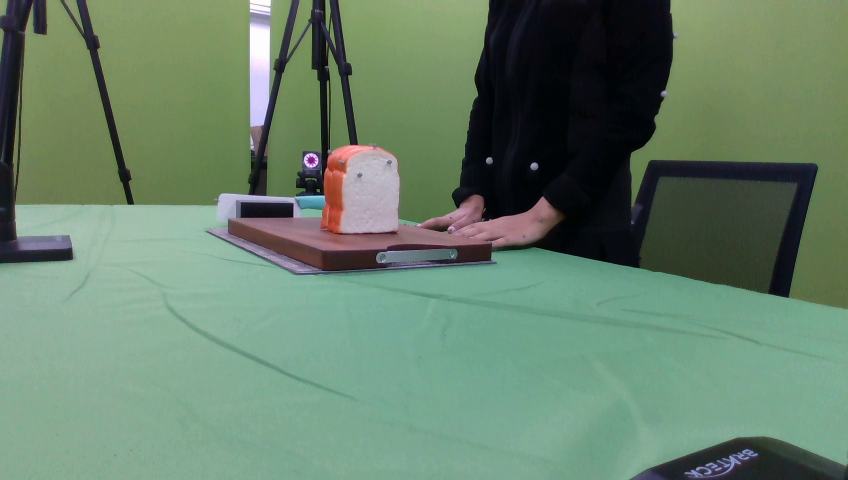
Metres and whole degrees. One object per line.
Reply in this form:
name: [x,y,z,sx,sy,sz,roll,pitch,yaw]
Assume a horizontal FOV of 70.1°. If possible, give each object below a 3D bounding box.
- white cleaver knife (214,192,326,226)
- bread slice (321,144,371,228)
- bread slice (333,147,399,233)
white cleaver knife: [-0.278,-0.062,1.236,0.288,0.066,0.021,0,13,-25]
bread slice: [-0.105,-0.083,0.952,0.107,0.134,0.018,2,6,-32]
bread slice: [-0.084,-0.074,0.908,0.105,0.131,0.019,-4,14,-31]
